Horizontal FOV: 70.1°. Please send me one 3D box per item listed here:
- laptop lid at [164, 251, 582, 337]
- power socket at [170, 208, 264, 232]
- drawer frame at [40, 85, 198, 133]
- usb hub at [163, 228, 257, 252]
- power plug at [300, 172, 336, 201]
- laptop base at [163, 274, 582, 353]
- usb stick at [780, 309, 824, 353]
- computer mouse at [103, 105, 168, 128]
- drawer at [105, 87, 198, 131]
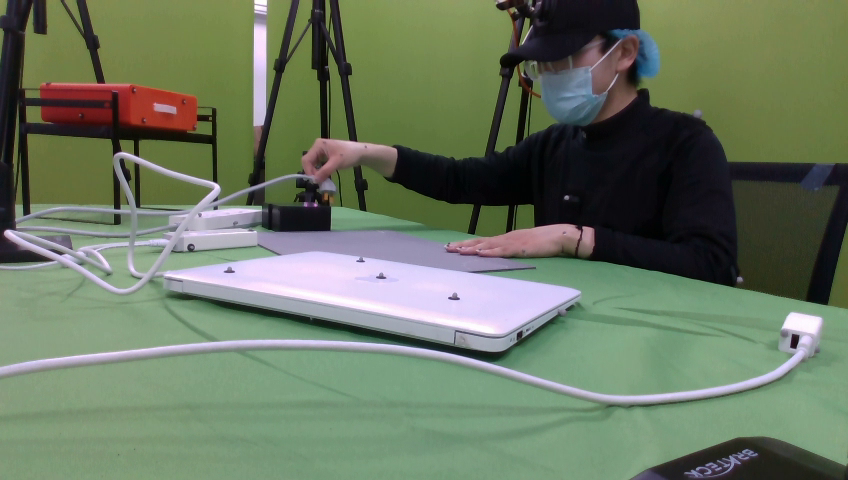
[{"bbox_3d":[-0.045,0.040,0.599,0.355,0.013,0.243,7,7,30],"label":"laptop lid"},{"bbox_3d":[-0.381,-0.038,1.129,0.072,0.032,0.227,4,8,15],"label":"power socket"},{"bbox_3d":[-0.612,-0.266,1.235,0.213,0.082,0.202,4,8,14],"label":"drawer frame"},{"bbox_3d":[-0.313,-0.001,0.894,0.049,0.025,0.126,9,10,41],"label":"usb hub"},{"bbox_3d":[-0.211,-0.104,1.203,0.073,0.052,0.035,2,-11,-17],"label":"power plug"},{"bbox_3d":[-0.046,0.052,0.598,0.353,0.023,0.236,6,6,28],"label":"laptop base"},{"bbox_3d":[0.311,0.072,0.497,0.027,0.021,0.059,7,15,34],"label":"usb stick"},{"bbox_3d":[-0.582,-0.249,1.223,0.118,0.041,0.062,2,3,-39],"label":"computer mouse"},{"bbox_3d":[-0.609,-0.264,1.235,0.211,0.073,0.195,3,8,16],"label":"drawer"}]
